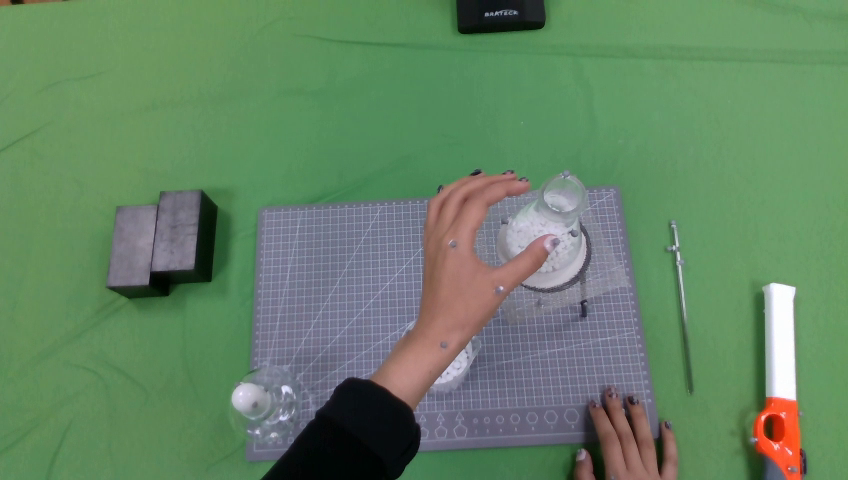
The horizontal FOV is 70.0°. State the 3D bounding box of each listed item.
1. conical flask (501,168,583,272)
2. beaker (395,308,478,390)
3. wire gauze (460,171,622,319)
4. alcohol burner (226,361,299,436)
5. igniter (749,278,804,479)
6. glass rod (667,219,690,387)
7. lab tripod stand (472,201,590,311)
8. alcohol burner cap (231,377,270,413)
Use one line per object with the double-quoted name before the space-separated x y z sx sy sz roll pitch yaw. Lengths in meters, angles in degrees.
"conical flask" 0.110 -0.021 0.536 0.075 0.122 0.075 -1 73 2
"beaker" 0.014 0.119 0.643 0.084 0.101 0.073 -9 71 -1
"wire gauze" 0.113 0.004 0.590 0.125 0.011 0.120 -19 74 -6
"alcohol burner" -0.171 0.163 0.628 0.078 0.120 0.077 0 72 1
"igniter" 0.377 0.175 0.650 0.057 0.025 0.275 12 72 -4
"glass rod" 0.292 0.069 0.699 0.008 0.008 0.198 1 71 3
"lab tripod stand" 0.117 0.027 0.652 0.148 0.132 0.147 -1 73 3
"alcohol burner cap" -0.172 0.150 0.594 0.034 0.048 0.033 1 69 -2
